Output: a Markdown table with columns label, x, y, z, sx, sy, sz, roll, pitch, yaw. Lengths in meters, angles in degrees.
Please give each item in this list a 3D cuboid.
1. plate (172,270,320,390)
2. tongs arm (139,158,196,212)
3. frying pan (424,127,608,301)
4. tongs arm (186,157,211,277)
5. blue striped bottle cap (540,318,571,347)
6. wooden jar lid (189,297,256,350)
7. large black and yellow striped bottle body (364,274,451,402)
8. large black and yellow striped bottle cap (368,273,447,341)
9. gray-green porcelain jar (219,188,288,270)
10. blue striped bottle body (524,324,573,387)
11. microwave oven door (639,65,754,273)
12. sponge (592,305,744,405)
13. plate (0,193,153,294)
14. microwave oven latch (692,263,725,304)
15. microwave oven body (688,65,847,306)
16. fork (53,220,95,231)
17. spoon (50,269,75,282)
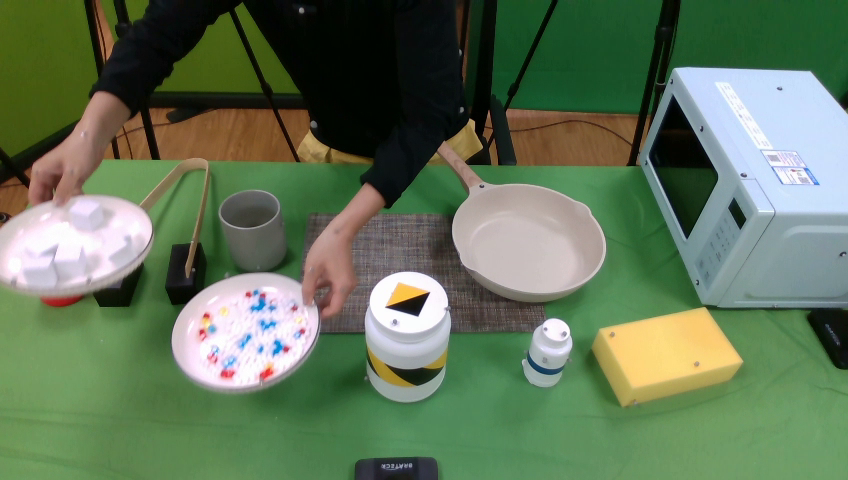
| label | x | y | z | sx | sy | sz | roll | pitch | yaw |
| --- | --- | --- | --- | --- | --- | --- | --- | --- | --- |
| plate | -0.255 | 0.131 | 0.882 | 0.209 | 0.038 | 0.208 | 1 | 44 | -1 |
| tongs arm | -0.531 | -0.058 | 1.163 | 0.028 | 0.028 | 0.385 | 1 | 36 | 7 |
| frying pan | 0.143 | -0.070 | 1.209 | 0.307 | 0.103 | 0.485 | -23 | 61 | -25 |
| tongs arm | -0.446 | -0.058 | 1.168 | 0.051 | 0.026 | 0.382 | -5 | 37 | -6 |
| blue striped bottle cap | 0.203 | 0.142 | 0.933 | 0.044 | 0.021 | 0.044 | 3 | 49 | -3 |
| wooden jar lid | -0.342 | 0.145 | 1.034 | 0.108 | 0.021 | 0.107 | 3 | 45 | -2 |
| large black and yellow striped bottle body | -0.026 | 0.151 | 0.937 | 0.131 | 0.185 | 0.130 | 2 | 47 | -1 |
| large black and yellow striped bottle cap | -0.023 | 0.094 | 0.875 | 0.115 | 0.019 | 0.114 | 2 | 45 | -2 |
| gray-green porcelain jar | -0.309 | -0.015 | 1.114 | 0.106 | 0.127 | 0.105 | 1 | 47 | -1 |
| blue striped bottle body | 0.200 | 0.178 | 0.970 | 0.063 | 0.121 | 0.062 | 2 | 46 | -2 |
| microwave oven door | 0.522 | -0.147 | 1.193 | 0.039 | 0.245 | 0.353 | 0 | 47 | -3 |
| sponge | 0.405 | 0.190 | 1.015 | 0.207 | 0.061 | 0.117 | -10 | 48 | -13 |
| plate | -0.491 | 0.008 | 0.850 | 0.208 | 0.039 | 0.206 | 5 | 38 | -4 |
| microwave oven latch | 0.522 | 0.081 | 1.116 | 0.030 | 0.029 | 0.078 | 2 | 46 | -2 |
| microwave oven body | 0.669 | -0.111 | 1.176 | 0.326 | 0.261 | 0.439 | 0 | 46 | -3 |
| fork | -0.627 | -0.026 | 1.086 | 0.028 | 0.207 | 0.018 | 1 | 91 | -15 |
| spoon | -0.605 | 0.057 | 1.012 | 0.041 | 0.193 | 0.021 | -26 | 98 | -30 |
